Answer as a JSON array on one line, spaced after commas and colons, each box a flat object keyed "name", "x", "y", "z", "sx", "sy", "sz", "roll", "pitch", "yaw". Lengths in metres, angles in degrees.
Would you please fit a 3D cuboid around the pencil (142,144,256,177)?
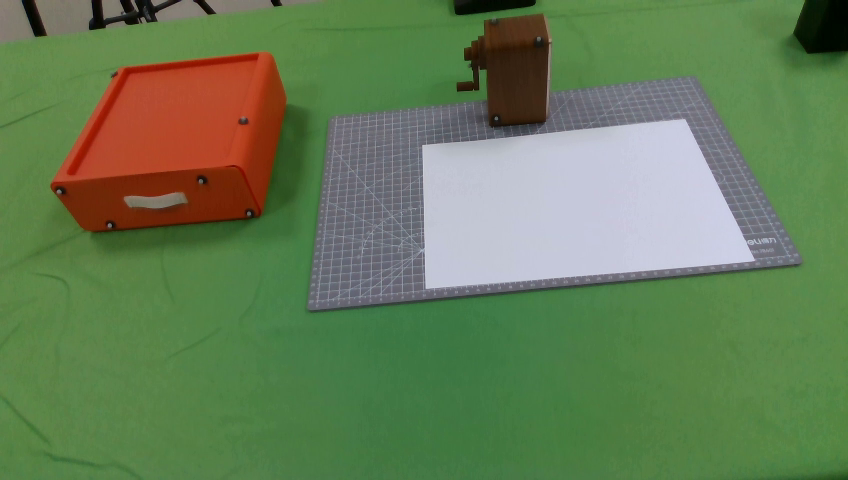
[{"name": "pencil", "x": -0.271, "y": -0.097, "z": 0.717, "sx": 0.193, "sy": 0.012, "sz": 0.012, "roll": 16, "pitch": 52, "yaw": 27}]

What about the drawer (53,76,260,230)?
[{"name": "drawer", "x": -0.275, "y": -0.113, "z": 0.693, "sx": 0.194, "sy": 0.074, "sz": 0.209, "roll": -5, "pitch": 47, "yaw": 4}]

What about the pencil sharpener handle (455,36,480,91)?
[{"name": "pencil sharpener handle", "x": 0.048, "y": -0.196, "z": 0.682, "sx": 0.030, "sy": 0.068, "sz": 0.035, "roll": -4, "pitch": 54, "yaw": 6}]

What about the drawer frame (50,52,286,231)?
[{"name": "drawer frame", "x": -0.276, "y": -0.116, "z": 0.693, "sx": 0.201, "sy": 0.083, "sz": 0.211, "roll": -6, "pitch": 47, "yaw": 4}]

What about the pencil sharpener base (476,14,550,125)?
[{"name": "pencil sharpener base", "x": 0.100, "y": -0.190, "z": 0.686, "sx": 0.076, "sy": 0.108, "sz": 0.061, "roll": -4, "pitch": 48, "yaw": 5}]
